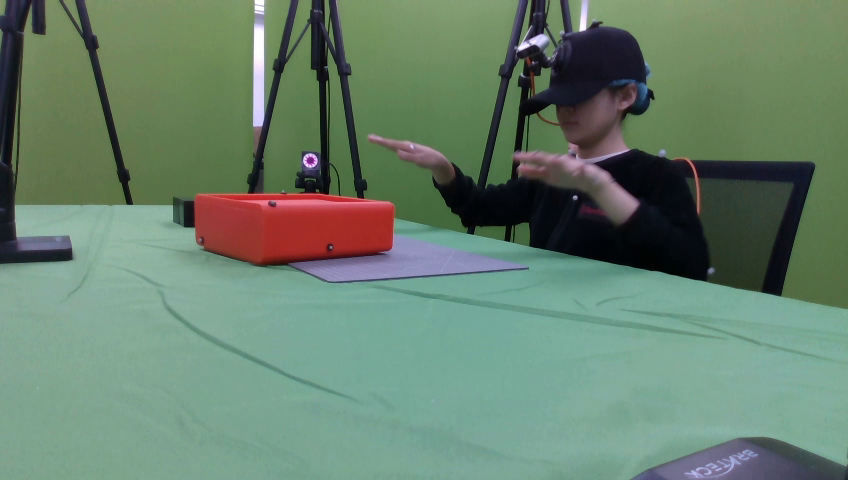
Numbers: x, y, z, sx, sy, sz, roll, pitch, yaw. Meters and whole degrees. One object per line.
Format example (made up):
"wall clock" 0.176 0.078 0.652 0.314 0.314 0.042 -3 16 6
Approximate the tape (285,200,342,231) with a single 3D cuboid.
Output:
"tape" -0.223 -0.051 1.222 0.117 0.052 0.117 3 7 0

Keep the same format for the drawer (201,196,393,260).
"drawer" -0.186 -0.023 0.886 0.213 0.073 0.193 -5 12 -43

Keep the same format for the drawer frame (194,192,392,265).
"drawer frame" -0.190 -0.024 0.882 0.215 0.082 0.200 -5 11 -44
